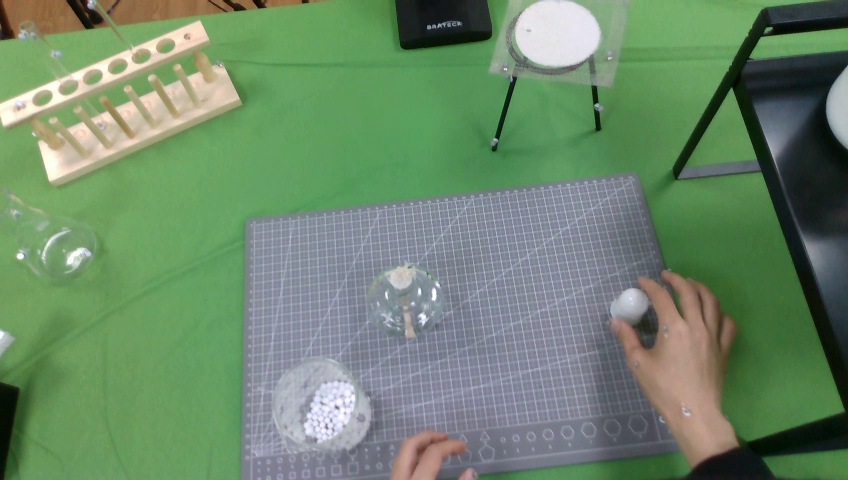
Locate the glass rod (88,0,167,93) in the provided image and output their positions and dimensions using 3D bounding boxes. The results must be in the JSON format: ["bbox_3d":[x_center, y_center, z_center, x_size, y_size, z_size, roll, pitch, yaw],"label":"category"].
[{"bbox_3d":[-0.339,-0.228,0.670,0.008,0.201,0.008,-5,60,9],"label":"glass rod"}]

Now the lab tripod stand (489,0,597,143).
[{"bbox_3d":[0.132,-0.184,0.671,0.148,0.132,0.147,-1,65,2],"label":"lab tripod stand"}]

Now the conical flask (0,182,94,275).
[{"bbox_3d":[-0.414,-0.016,0.636,0.075,0.123,0.075,-1,66,3],"label":"conical flask"}]

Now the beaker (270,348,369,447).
[{"bbox_3d":[-0.093,0.151,0.555,0.073,0.101,0.083,22,70,13],"label":"beaker"}]

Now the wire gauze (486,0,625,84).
[{"bbox_3d":[0.135,-0.214,0.610,0.121,0.011,0.124,14,69,7],"label":"wire gauze"}]

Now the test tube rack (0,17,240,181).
[{"bbox_3d":[-0.355,-0.166,0.717,0.242,0.086,0.066,-26,67,-8],"label":"test tube rack"}]

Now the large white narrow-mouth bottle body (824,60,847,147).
[{"bbox_3d":[0.369,-0.138,0.409,0.102,0.196,0.101,-2,66,4],"label":"large white narrow-mouth bottle body"}]

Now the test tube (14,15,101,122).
[{"bbox_3d":[-0.401,-0.184,0.673,0.017,0.151,0.017,-1,60,2],"label":"test tube"}]

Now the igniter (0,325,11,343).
[{"bbox_3d":[-0.482,0.195,0.548,0.057,0.025,0.275,20,68,21],"label":"igniter"}]

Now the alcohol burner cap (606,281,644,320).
[{"bbox_3d":[0.204,0.058,0.609,0.034,0.048,0.033,-2,64,4],"label":"alcohol burner cap"}]

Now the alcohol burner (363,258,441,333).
[{"bbox_3d":[-0.023,0.048,0.588,0.078,0.120,0.077,0,65,1],"label":"alcohol burner"}]
